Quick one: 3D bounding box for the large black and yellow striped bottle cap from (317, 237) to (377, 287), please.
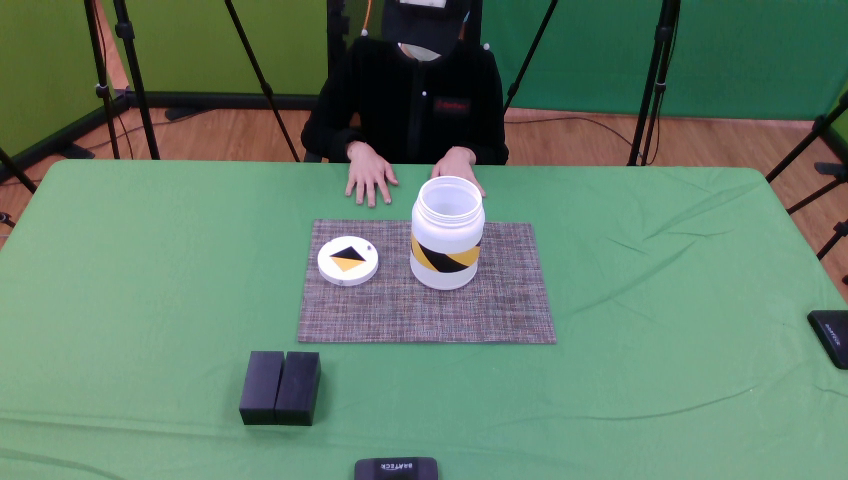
[{"bbox_3d":[-0.146,0.040,1.148,0.115,0.019,0.114,2,47,-2],"label":"large black and yellow striped bottle cap"}]

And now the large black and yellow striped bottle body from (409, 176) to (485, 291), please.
[{"bbox_3d":[0.040,-0.012,1.095,0.131,0.185,0.130,2,46,-2],"label":"large black and yellow striped bottle body"}]
